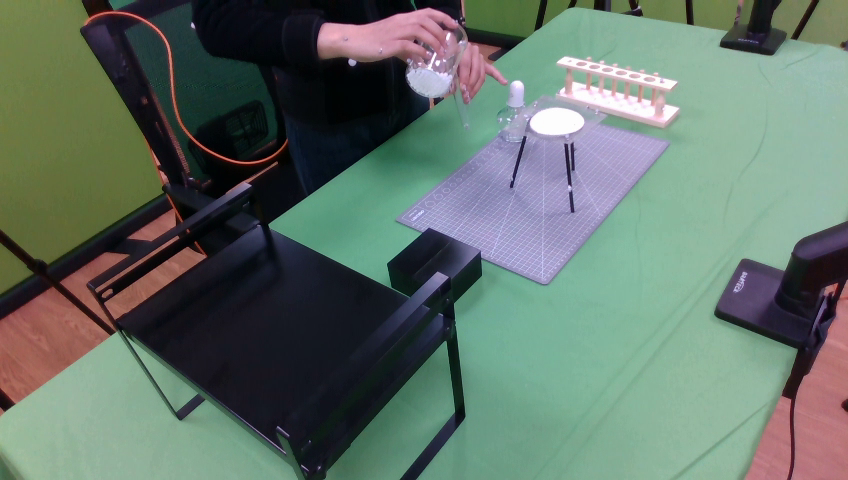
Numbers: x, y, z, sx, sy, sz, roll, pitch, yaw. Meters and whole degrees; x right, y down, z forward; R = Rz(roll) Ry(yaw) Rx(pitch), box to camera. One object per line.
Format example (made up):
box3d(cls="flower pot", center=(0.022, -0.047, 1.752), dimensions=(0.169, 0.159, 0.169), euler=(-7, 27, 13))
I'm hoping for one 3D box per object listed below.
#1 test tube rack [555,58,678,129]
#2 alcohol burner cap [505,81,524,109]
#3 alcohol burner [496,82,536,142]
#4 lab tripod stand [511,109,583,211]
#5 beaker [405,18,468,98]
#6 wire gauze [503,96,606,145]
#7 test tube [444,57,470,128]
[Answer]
box3d(cls="test tube rack", center=(0.390, -0.307, 1.229), dimensions=(0.240, 0.085, 0.067), euler=(26, 50, 33))
box3d(cls="alcohol burner cap", center=(0.173, -0.277, 1.145), dimensions=(0.034, 0.048, 0.033), euler=(1, 41, -1))
box3d(cls="alcohol burner", center=(0.178, -0.250, 1.168), dimensions=(0.078, 0.119, 0.077), euler=(-5, 42, 5))
box3d(cls="lab tripod stand", center=(0.220, -0.138, 1.014), dimensions=(0.148, 0.132, 0.147), euler=(-3, 41, 3))
box3d(cls="beaker", center=(0.018, -0.272, 0.920), dimensions=(0.073, 0.084, 0.100), euler=(11, 62, 17))
box3d(cls="wire gauze", center=(0.211, -0.192, 0.975), dimensions=(0.120, 0.011, 0.125), euler=(24, 49, 32))
box3d(cls="test tube", center=(0.058, -0.248, 1.032), dimensions=(0.017, 0.151, 0.017), euler=(-8, 53, 12))
